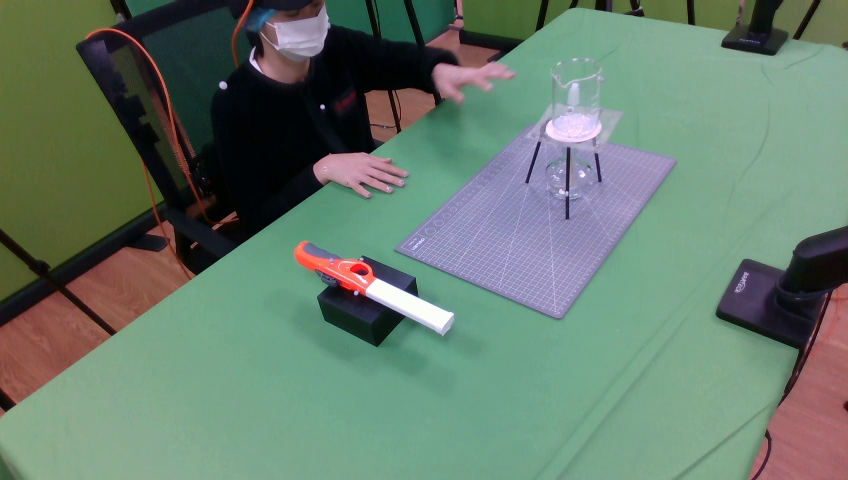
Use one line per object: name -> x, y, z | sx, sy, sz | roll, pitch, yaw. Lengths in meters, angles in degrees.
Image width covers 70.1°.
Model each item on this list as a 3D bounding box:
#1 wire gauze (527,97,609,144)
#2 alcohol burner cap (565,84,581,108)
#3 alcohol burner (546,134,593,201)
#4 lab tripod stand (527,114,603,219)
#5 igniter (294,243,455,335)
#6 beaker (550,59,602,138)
wire gauze -> 0.225, -0.187, 0.945 | 0.121, 0.011, 0.124 | 4, 45, 12
alcohol burner cap -> 0.315, -0.307, 1.278 | 0.034, 0.048, 0.033 | -5, 42, 5
alcohol burner -> 0.243, -0.126, 1.011 | 0.078, 0.119, 0.077 | -5, 42, 5
lab tripod stand -> 0.234, -0.129, 1.002 | 0.148, 0.132, 0.147 | -6, 40, 6
igniter -> -0.079, 0.062, 0.837 | 0.274, 0.025, 0.057 | 22, 49, 27
beaker -> 0.230, -0.212, 0.922 | 0.073, 0.101, 0.084 | 16, 46, 31
